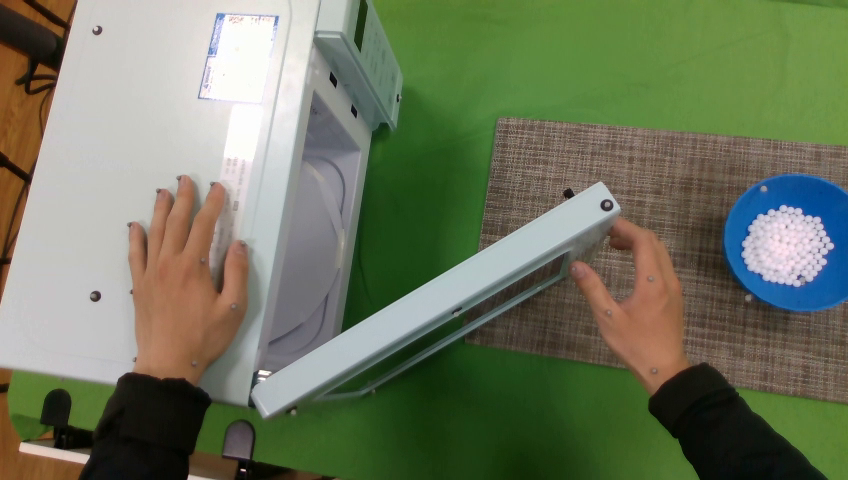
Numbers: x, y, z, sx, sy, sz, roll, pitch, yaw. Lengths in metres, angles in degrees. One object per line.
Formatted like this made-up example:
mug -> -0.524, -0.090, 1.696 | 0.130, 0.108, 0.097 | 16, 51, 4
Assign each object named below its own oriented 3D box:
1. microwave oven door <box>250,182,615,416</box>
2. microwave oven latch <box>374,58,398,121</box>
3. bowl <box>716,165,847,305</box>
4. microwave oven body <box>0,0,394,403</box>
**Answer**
microwave oven door -> 0.023, 0.072, 0.628 | 0.356, 0.245, 0.039 | -31, 75, 2
microwave oven latch -> -0.052, -0.199, 0.796 | 0.030, 0.029, 0.079 | 6, 81, 10
bowl -> 0.398, 0.002, 0.678 | 0.151, 0.077, 0.150 | -2, 79, 9
microwave oven body -> -0.237, -0.060, 0.700 | 0.325, 0.261, 0.440 | 6, 81, 10
